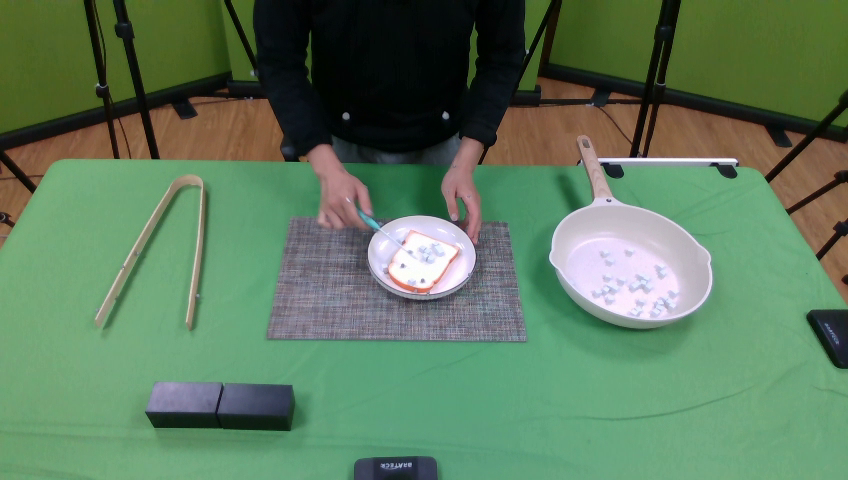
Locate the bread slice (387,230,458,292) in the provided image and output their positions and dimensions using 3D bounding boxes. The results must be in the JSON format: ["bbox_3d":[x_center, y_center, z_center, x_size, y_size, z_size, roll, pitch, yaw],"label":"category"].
[{"bbox_3d":[-0.007,0.043,1.142,0.107,0.018,0.134,18,46,14],"label":"bread slice"}]

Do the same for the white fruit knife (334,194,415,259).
[{"bbox_3d":[-0.092,-0.026,1.114,0.206,0.027,0.016,37,79,19],"label":"white fruit knife"}]

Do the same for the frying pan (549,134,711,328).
[{"bbox_3d":[0.372,-0.035,1.203,0.307,0.103,0.484,-1,55,-6],"label":"frying pan"}]

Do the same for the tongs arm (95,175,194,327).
[{"bbox_3d":[-0.516,0.006,1.142,0.051,0.026,0.382,4,45,-2],"label":"tongs arm"}]

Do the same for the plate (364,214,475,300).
[{"bbox_3d":[-0.010,0.036,1.147,0.208,0.039,0.206,2,46,-2],"label":"plate"}]

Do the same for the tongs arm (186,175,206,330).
[{"bbox_3d":[-0.436,0.009,1.151,0.028,0.028,0.385,-7,47,-8],"label":"tongs arm"}]
